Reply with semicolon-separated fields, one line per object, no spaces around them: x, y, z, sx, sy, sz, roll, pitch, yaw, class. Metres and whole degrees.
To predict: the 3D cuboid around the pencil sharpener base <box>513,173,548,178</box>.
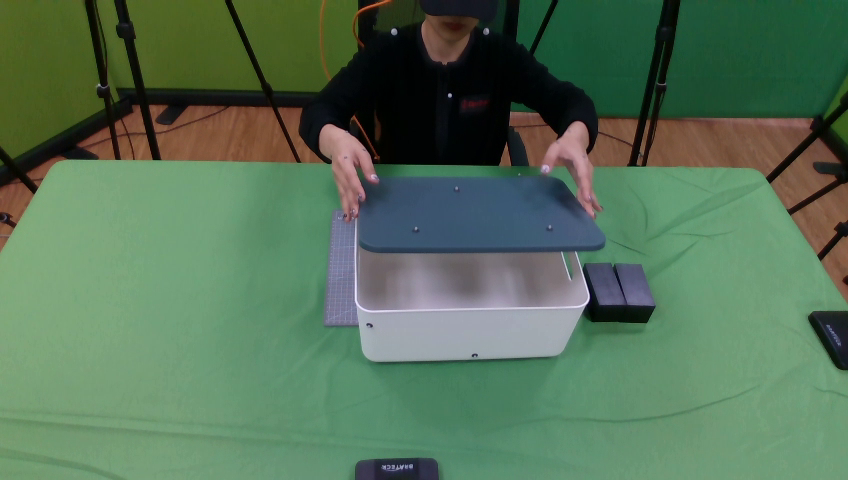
0.216;-0.075;1.223;0.077;0.107;0.061;-6;46;-10;pencil sharpener base

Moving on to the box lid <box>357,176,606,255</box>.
0.080;-0.045;0.967;0.372;0.015;0.261;0;28;-7;box lid

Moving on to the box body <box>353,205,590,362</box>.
0.065;0.066;1.040;0.364;0.161;0.252;-1;46;-5;box body

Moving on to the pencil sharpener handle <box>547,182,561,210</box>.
0.267;-0.089;1.223;0.031;0.068;0.035;-6;44;-10;pencil sharpener handle
